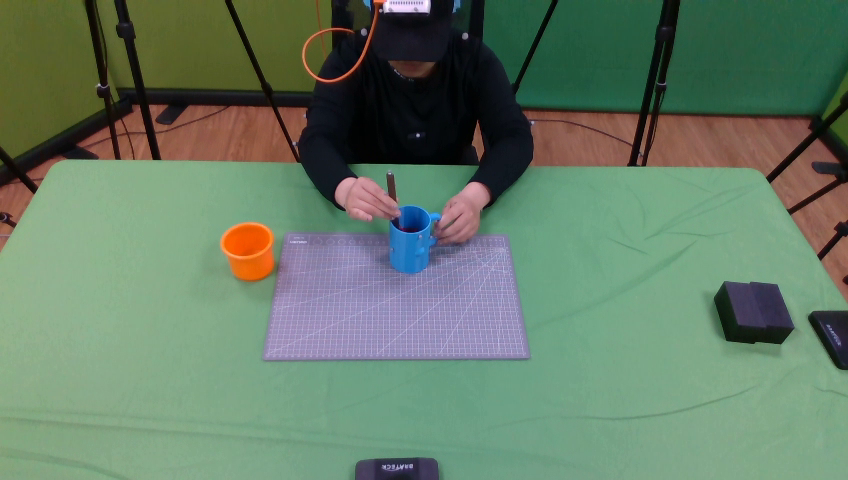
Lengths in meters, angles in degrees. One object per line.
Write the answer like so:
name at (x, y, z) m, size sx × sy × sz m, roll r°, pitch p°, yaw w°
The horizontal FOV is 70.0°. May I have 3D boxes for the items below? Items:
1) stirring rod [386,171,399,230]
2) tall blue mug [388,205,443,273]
stirring rod at (-0.055, -0.057, 1.075) m, size 0.014 × 0.177 × 0.006 m, roll 14°, pitch 53°, yaw 13°
tall blue mug at (-0.020, -0.010, 1.144) m, size 0.077 × 0.108 × 0.107 m, roll 23°, pitch 48°, yaw 18°
